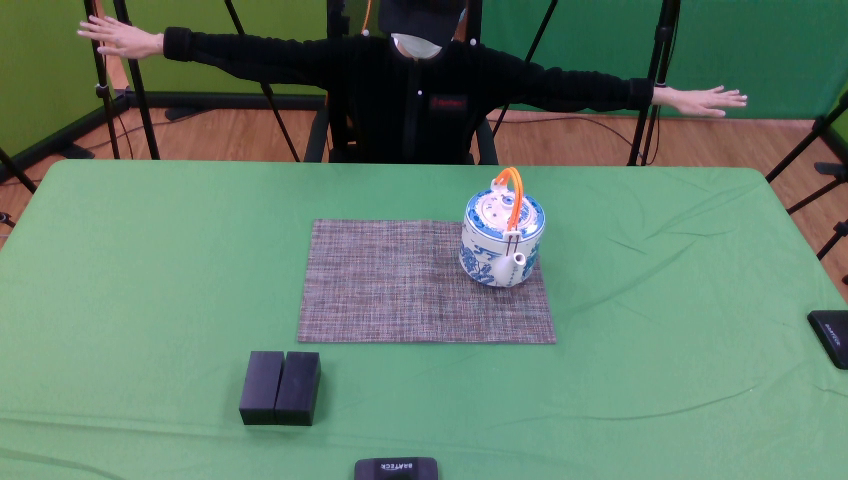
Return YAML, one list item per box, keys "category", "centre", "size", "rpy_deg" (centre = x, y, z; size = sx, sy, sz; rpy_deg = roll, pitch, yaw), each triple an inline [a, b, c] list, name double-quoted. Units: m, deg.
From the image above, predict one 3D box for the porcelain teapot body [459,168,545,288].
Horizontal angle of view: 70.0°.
- category: "porcelain teapot body"
  centre: [0.146, -0.006, 1.070]
  size: [0.145, 0.226, 0.204]
  rpy_deg: [-4, 46, -8]

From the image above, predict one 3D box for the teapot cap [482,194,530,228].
- category: "teapot cap"
  centre: [0.145, -0.055, 1.062]
  size: [0.085, 0.044, 0.084]
  rpy_deg: [3, 47, -3]
